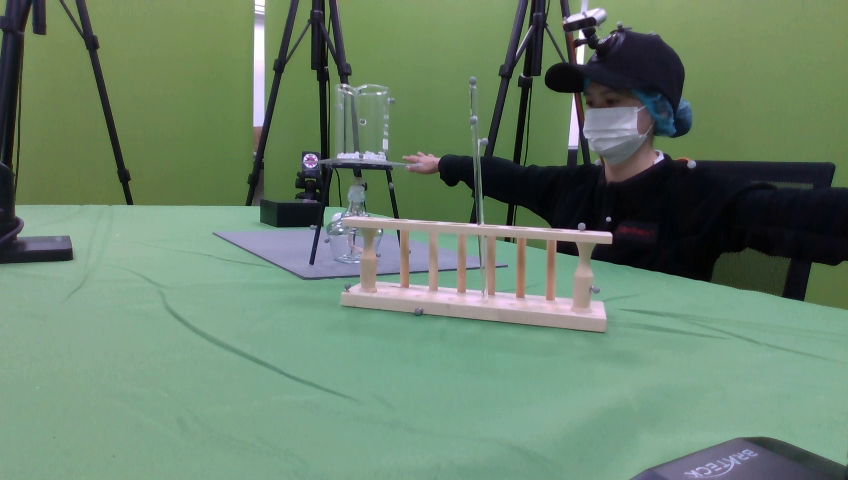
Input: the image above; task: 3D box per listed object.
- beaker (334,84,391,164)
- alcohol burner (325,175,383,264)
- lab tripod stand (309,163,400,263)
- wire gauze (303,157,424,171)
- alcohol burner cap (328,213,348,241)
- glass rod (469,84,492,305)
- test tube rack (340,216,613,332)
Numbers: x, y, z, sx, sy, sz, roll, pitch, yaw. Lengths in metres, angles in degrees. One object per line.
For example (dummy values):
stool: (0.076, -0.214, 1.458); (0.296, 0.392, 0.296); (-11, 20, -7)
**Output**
beaker: (-0.082, -0.149, 0.791); (0.074, 0.100, 0.084); (2, 5, 4)
alcohol burner: (-0.093, -0.028, 0.816); (0.078, 0.119, 0.078); (3, 5, 0)
lab tripod stand: (-0.091, -0.037, 0.813); (0.148, 0.131, 0.148); (1, 6, 0)
wire gauze: (-0.082, -0.101, 0.799); (0.126, 0.011, 0.121); (1, 7, -30)
alcohol burner cap: (-0.148, -0.024, 1.050); (0.034, 0.048, 0.034); (3, 7, 0)
glass rod: (0.051, -0.036, 0.535); (0.008, 0.199, 0.008); (-5, 10, 1)
test tube rack: (0.047, 0.026, 0.568); (0.242, 0.085, 0.067); (4, 8, 13)
